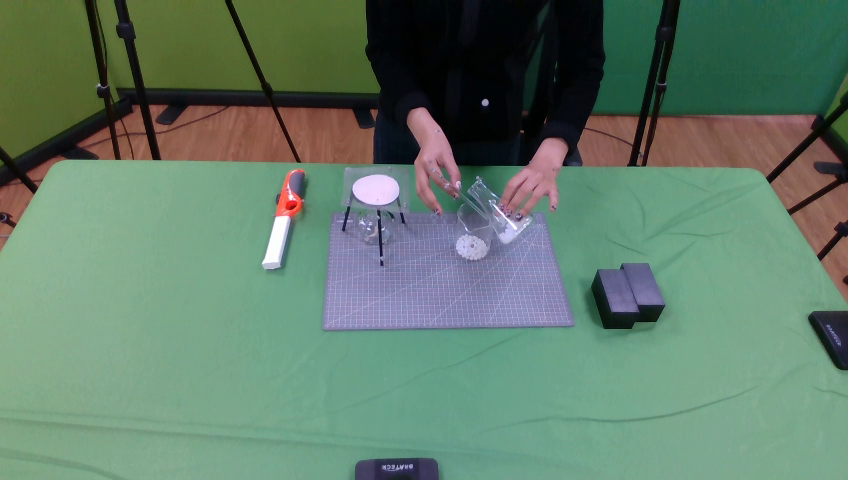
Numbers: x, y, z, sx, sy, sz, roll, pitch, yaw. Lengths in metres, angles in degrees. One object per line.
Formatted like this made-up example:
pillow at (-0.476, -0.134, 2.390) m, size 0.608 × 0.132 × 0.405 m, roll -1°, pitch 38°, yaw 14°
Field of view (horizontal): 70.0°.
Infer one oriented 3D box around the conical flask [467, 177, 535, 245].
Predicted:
conical flask at (0.129, -0.055, 1.064) m, size 0.122 × 0.075 × 0.075 m, roll 46°, pitch 55°, yaw 2°

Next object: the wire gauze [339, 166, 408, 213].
wire gauze at (-0.091, -0.096, 1.110) m, size 0.125 × 0.011 × 0.120 m, roll 2°, pitch 45°, yaw -3°

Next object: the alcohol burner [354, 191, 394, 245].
alcohol burner at (-0.096, -0.048, 1.171) m, size 0.078 × 0.119 × 0.077 m, roll 4°, pitch 45°, yaw -4°

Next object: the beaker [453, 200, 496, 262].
beaker at (0.094, -0.012, 1.162) m, size 0.074 × 0.101 × 0.083 m, roll 17°, pitch 48°, yaw 12°

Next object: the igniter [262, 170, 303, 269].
igniter at (-0.283, -0.050, 1.222) m, size 0.057 × 0.025 × 0.275 m, roll -5°, pitch 45°, yaw 6°

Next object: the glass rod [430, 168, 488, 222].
glass rod at (0.066, -0.078, 1.089) m, size 0.008 × 0.201 × 0.008 m, roll -17°, pitch 57°, yaw 28°

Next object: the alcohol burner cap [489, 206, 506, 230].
alcohol burner cap at (0.152, -0.047, 1.241) m, size 0.034 × 0.048 × 0.033 m, roll 2°, pitch 45°, yaw -2°

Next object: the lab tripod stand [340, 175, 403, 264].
lab tripod stand at (-0.094, -0.050, 1.160) m, size 0.148 × 0.132 × 0.147 m, roll 2°, pitch 44°, yaw -2°
